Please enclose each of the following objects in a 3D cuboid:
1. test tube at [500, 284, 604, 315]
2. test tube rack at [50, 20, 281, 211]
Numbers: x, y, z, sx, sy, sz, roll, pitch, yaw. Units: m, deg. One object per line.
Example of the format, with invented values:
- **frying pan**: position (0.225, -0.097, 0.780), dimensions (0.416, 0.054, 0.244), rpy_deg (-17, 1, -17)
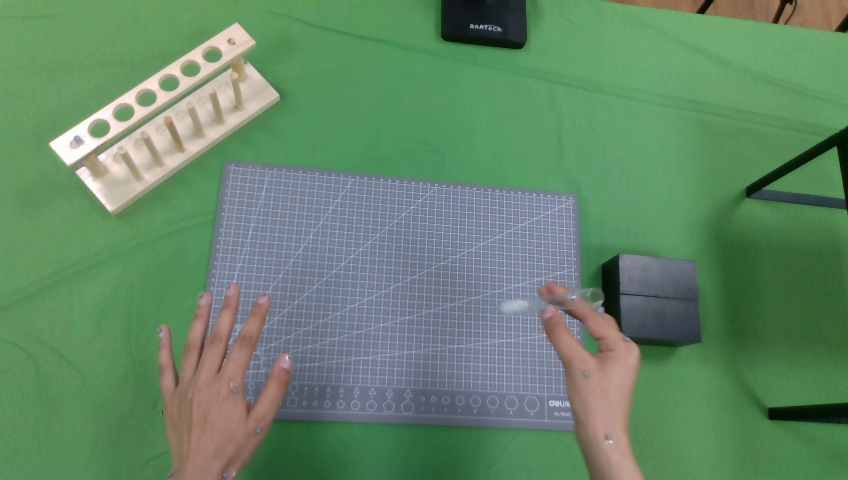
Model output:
- **test tube**: position (0.112, 0.057, 0.560), dimensions (0.017, 0.150, 0.017), rpy_deg (5, 77, -23)
- **test tube rack**: position (-0.285, -0.143, 0.699), dimensions (0.242, 0.085, 0.066), rpy_deg (-41, 83, -18)
